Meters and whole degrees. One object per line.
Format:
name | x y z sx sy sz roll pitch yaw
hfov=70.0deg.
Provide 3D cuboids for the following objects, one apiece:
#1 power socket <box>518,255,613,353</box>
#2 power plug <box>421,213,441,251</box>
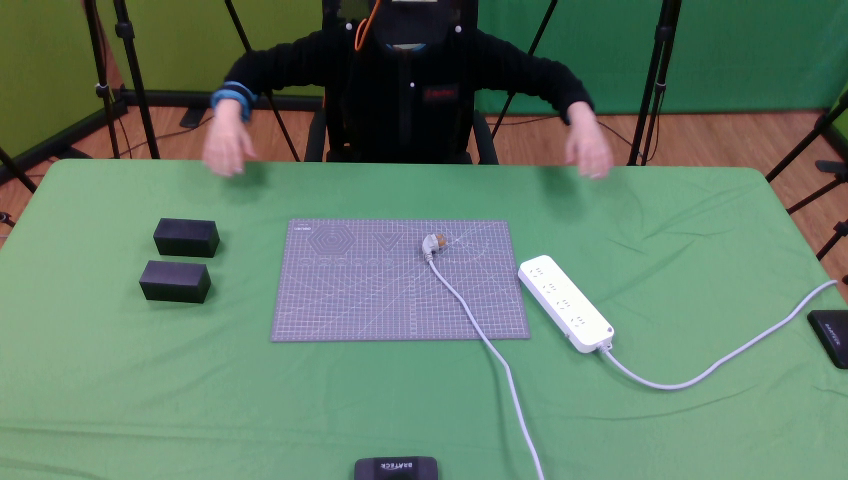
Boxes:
power socket | 0.253 0.112 1.099 0.072 0.033 0.225 -19 51 -20
power plug | 0.014 -0.015 1.169 0.035 0.072 0.052 7 13 -10
